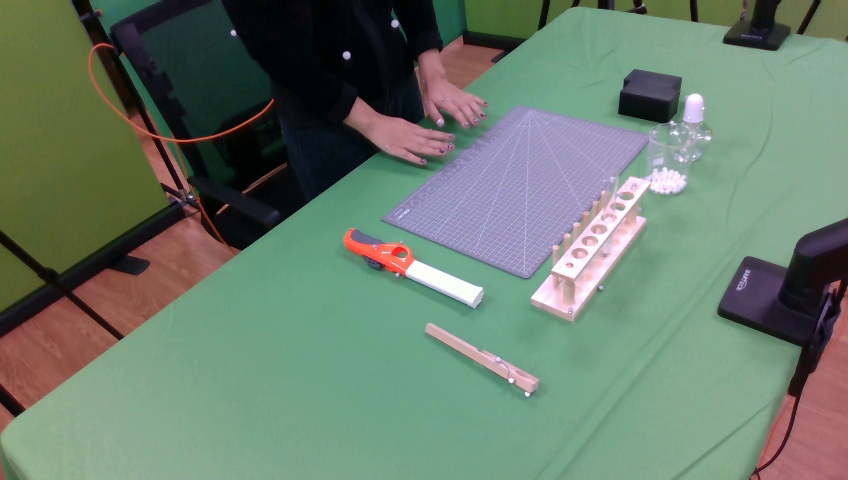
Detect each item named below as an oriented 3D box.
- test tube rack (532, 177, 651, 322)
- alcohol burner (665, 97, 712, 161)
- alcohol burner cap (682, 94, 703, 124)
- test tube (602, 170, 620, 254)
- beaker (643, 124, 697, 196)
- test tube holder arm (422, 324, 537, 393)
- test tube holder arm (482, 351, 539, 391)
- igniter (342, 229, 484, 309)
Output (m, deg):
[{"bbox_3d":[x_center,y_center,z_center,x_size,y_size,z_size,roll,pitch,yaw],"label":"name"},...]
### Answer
[{"bbox_3d":[0.247,0.002,0.883,0.066,0.085,0.243,22,49,32],"label":"test tube rack"},{"bbox_3d":[0.465,-0.198,1.057,0.078,0.119,0.077,-4,41,4],"label":"alcohol burner"},{"bbox_3d":[0.460,-0.225,1.033,0.034,0.048,0.033,-8,34,6],"label":"alcohol burner cap"},{"bbox_3d":[0.261,-0.035,0.848,0.017,0.151,0.017,-6,44,6],"label":"test tube"},{"bbox_3d":[0.407,-0.132,1.001,0.084,0.101,0.073,-20,42,-13],"label":"beaker"},{"bbox_3d":[0.068,0.152,0.789,0.177,0.015,0.013,23,15,32],"label":"test tube holder arm"},{"bbox_3d":[0.106,0.166,0.769,0.087,0.015,0.010,24,15,34],"label":"test tube holder arm"},{"bbox_3d":[-0.027,0.039,0.936,0.274,0.025,0.057,23,60,32],"label":"igniter"}]
